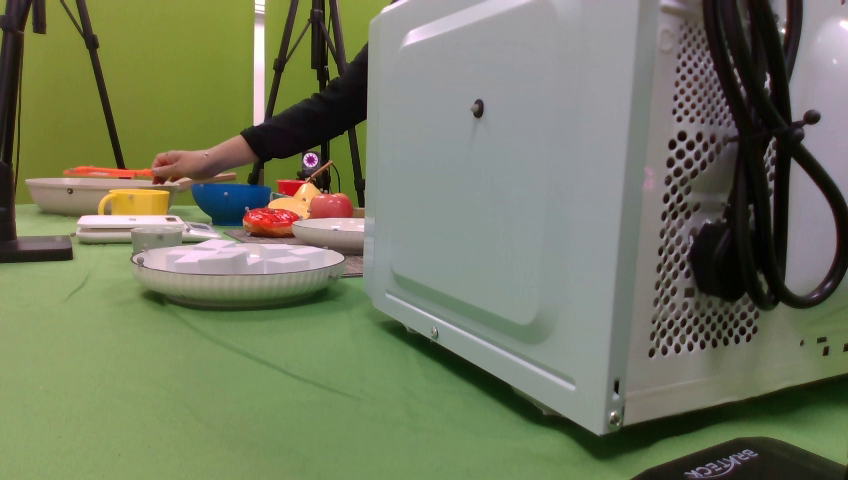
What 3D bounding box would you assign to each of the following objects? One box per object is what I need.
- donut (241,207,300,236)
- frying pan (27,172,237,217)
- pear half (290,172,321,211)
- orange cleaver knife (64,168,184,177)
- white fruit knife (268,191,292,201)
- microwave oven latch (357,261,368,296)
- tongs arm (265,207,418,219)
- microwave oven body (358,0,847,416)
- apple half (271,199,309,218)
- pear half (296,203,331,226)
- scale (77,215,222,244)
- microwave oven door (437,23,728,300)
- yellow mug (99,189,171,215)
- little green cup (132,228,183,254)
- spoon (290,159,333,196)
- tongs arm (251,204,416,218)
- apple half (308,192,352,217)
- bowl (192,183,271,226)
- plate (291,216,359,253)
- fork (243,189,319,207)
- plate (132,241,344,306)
[{"bbox_3d":[-0.263,-0.031,1.039,0.099,0.048,0.099,5,9,0],"label":"donut"},{"bbox_3d":[-0.624,-0.118,1.387,0.305,0.102,0.490,8,17,32],"label":"frying pan"},{"bbox_3d":[-0.228,-0.078,1.182,0.076,0.110,0.056,-2,8,2],"label":"pear half"},{"bbox_3d":[-0.594,-0.133,1.209,0.212,0.012,0.077,-3,0,-44],"label":"orange cleaver knife"},{"bbox_3d":[-0.364,-0.105,1.464,0.208,0.027,0.016,15,0,-34],"label":"white fruit knife"},{"bbox_3d":[-0.019,0.033,0.532,0.079,0.029,0.030,-1,8,-29],"label":"microwave oven latch"},{"bbox_3d":[-0.173,-0.061,1.363,0.387,0.026,0.050,-1,4,-31],"label":"tongs arm"},{"bbox_3d":[0.211,-0.047,0.474,0.444,0.260,0.324,-1,7,-28],"label":"microwave oven body"},{"bbox_3d":[-0.254,-0.039,1.142,0.081,0.032,0.081,17,45,-18],"label":"apple half"},{"bbox_3d":[-0.228,-0.049,1.259,0.070,0.031,0.088,1,22,-3],"label":"pear half"},{"bbox_3d":[-0.434,-0.019,0.963,0.202,0.031,0.148,-1,9,-27],"label":"scale"},{"bbox_3d":[0.180,-0.073,0.621,0.358,0.243,0.039,-2,8,-29],"label":"microwave oven door"},{"bbox_3d":[-0.519,-0.055,1.080,0.099,0.064,0.131,7,10,26],"label":"yellow mug"},{"bbox_3d":[-0.342,0.006,0.779,0.061,0.038,0.061,2,8,0],"label":"little green cup"},{"bbox_3d":[-0.316,-0.159,1.640,0.194,0.022,0.041,-49,32,-20],"label":"spoon"},{"bbox_3d":[-0.210,-0.069,1.440,0.389,0.027,0.028,1,0,-17],"label":"tongs arm"},{"bbox_3d":[-0.165,-0.050,1.106,0.081,0.074,0.053,1,11,-41],"label":"apple half"},{"bbox_3d":[-0.382,-0.070,1.202,0.151,0.077,0.151,3,7,0],"label":"bowl"},{"bbox_3d":[-0.103,-0.009,0.945,0.209,0.038,0.209,2,8,0],"label":"plate"},{"bbox_3d":[-0.356,-0.105,1.526,0.208,0.018,0.028,16,-10,-40],"label":"fork"},{"bbox_3d":[-0.187,0.033,0.625,0.208,0.039,0.207,2,7,0],"label":"plate"}]
